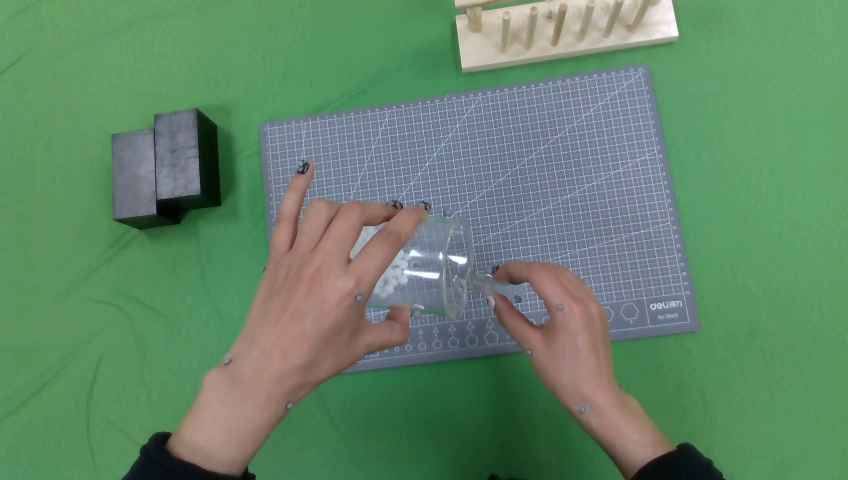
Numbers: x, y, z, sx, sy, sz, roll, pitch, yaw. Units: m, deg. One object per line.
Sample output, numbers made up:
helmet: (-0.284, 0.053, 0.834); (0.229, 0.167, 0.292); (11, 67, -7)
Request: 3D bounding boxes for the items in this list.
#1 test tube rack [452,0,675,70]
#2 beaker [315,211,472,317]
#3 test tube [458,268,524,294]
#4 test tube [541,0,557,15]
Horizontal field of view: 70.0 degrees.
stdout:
test tube rack: (0.154, -0.252, 0.658); (0.242, 0.085, 0.066); (-7, 79, 5)
beaker: (-0.021, 0.016, 0.448); (0.100, 0.084, 0.073); (4, 74, 18)
test tube: (0.063, 0.038, 0.537); (0.017, 0.151, 0.017); (-3, 82, 24)
test tube: (0.136, -0.277, 0.614); (0.017, 0.151, 0.017); (-1, 77, 3)
